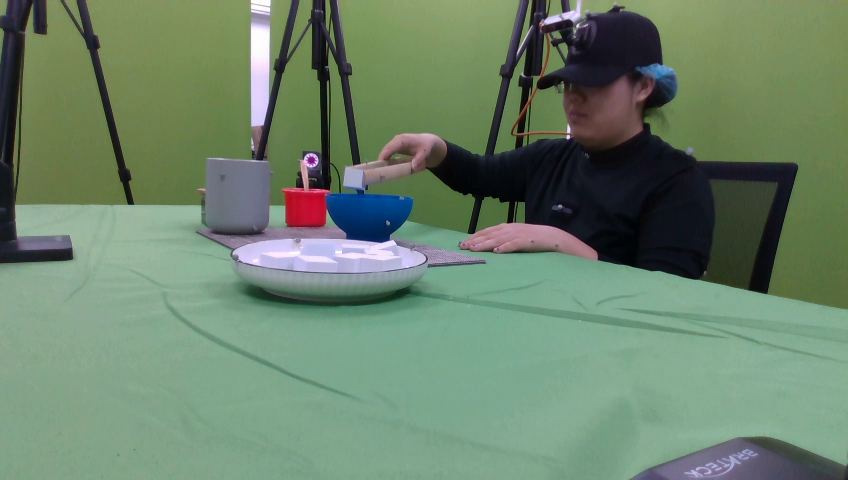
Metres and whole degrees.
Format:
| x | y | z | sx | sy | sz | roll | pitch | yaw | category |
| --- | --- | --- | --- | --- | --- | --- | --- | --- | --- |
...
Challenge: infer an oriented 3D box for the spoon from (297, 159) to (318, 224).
| x | y | z | sx | sy | sz | roll | pitch | yaw | category |
| --- | --- | --- | --- | --- | --- | --- | --- | --- | --- |
| -0.244 | -0.103 | 1.251 | 0.042 | 0.021 | 0.193 | 1 | 51 | -17 | spoon |

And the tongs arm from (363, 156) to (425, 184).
| x | y | z | sx | sy | sz | roll | pitch | yaw | category |
| --- | --- | --- | --- | --- | --- | --- | --- | --- | --- |
| -0.050 | -0.140 | 1.185 | 0.028 | 0.028 | 0.388 | 3 | 11 | 15 | tongs arm |

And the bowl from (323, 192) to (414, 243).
| x | y | z | sx | sy | sz | roll | pitch | yaw | category |
| --- | --- | --- | --- | --- | --- | --- | --- | --- | --- |
| -0.094 | -0.037 | 1.015 | 0.151 | 0.077 | 0.151 | 3 | 7 | 0 | bowl |

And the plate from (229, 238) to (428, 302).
| x | y | z | sx | sy | sz | roll | pitch | yaw | category |
| --- | --- | --- | --- | --- | --- | --- | --- | --- | --- |
| -0.099 | 0.032 | 0.651 | 0.209 | 0.038 | 0.209 | 3 | 8 | 0 | plate |

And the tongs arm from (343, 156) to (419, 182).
| x | y | z | sx | sy | sz | roll | pitch | yaw | category |
| --- | --- | --- | --- | --- | --- | --- | --- | --- | --- |
| -0.074 | -0.143 | 1.190 | 0.051 | 0.026 | 0.385 | 5 | 12 | 10 | tongs arm |

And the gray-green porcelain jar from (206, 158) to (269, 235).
| x | y | z | sx | sy | sz | roll | pitch | yaw | category |
| --- | --- | --- | --- | --- | --- | --- | --- | --- | --- |
| -0.322 | -0.076 | 1.048 | 0.106 | 0.126 | 0.106 | 3 | 7 | 0 | gray-green porcelain jar |

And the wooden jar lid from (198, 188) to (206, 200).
| x | y | z | sx | sy | sz | roll | pitch | yaw | category |
| --- | --- | --- | --- | --- | --- | --- | --- | --- | --- |
| -0.382 | -0.088 | 1.175 | 0.108 | 0.020 | 0.108 | 3 | 8 | 0 | wooden jar lid |
